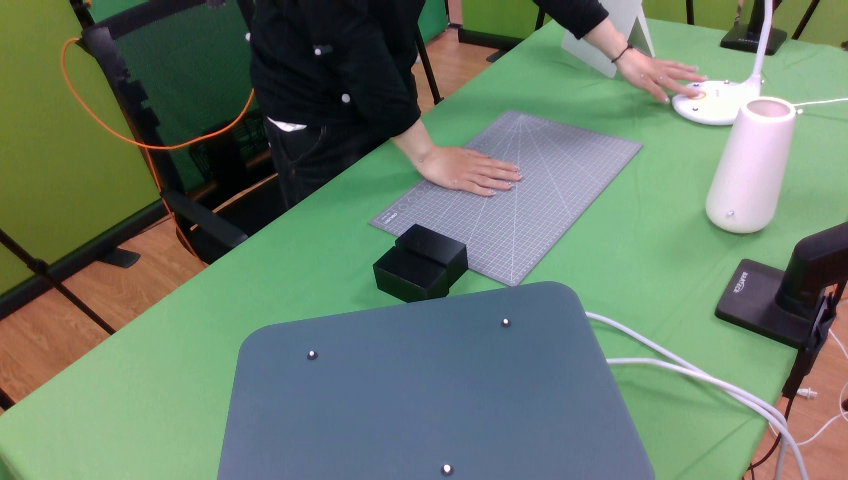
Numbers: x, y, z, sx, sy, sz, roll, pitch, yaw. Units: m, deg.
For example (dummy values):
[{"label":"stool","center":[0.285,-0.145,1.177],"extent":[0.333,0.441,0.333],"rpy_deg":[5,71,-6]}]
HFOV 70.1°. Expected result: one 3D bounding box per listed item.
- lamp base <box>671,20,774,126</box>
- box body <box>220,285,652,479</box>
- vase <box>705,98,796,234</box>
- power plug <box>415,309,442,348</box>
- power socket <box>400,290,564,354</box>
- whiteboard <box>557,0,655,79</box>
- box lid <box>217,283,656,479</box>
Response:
[{"label":"lamp base","center":[0.581,-0.332,1.153],"extent":[0.179,0.181,0.160],"rpy_deg":[2,41,7]},{"label":"box body","center":[0.005,0.211,0.616],"extent":[0.364,0.161,0.252],"rpy_deg":[-9,40,-2]},{"label":"vase","center":[0.480,-0.104,0.889],"extent":[0.098,0.201,0.097],"rpy_deg":[-4,42,4]},{"label":"power plug","center":[0.004,0.121,0.786],"extent":[0.035,0.053,0.072],"rpy_deg":[1,45,8]},{"label":"power socket","center":[0.079,0.111,0.823],"extent":[0.227,0.033,0.072],"rpy_deg":[-6,41,1]},{"label":"whiteboard","center":[0.462,-0.542,1.366],"extent":[0.145,0.306,0.215],"rpy_deg":[-3,36,-25]},{"label":"box lid","center":[-0.004,0.155,0.568],"extent":[0.372,0.015,0.261],"rpy_deg":[-8,39,-2]}]
